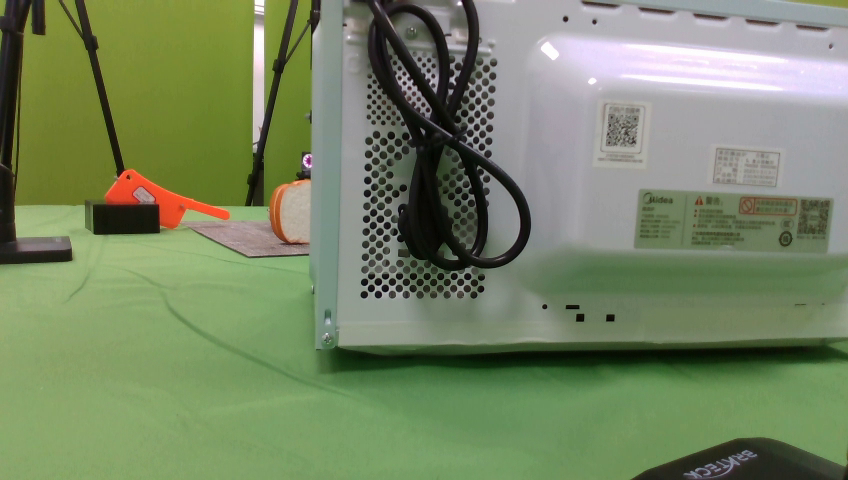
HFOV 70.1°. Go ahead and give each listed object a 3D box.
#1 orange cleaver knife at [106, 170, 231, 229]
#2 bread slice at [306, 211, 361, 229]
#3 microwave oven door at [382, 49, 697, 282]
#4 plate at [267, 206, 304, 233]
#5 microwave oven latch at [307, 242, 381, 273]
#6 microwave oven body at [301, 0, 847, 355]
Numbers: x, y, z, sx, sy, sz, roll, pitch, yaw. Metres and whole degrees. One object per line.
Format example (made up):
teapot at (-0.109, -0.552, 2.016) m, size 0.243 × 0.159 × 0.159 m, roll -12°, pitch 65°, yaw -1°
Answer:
orange cleaver knife at (-0.458, -0.060, 1.097) m, size 0.212 × 0.077 × 0.012 m, roll 23°, pitch -5°, yaw -38°
bread slice at (-0.173, -0.041, 1.173) m, size 0.107 × 0.018 × 0.134 m, roll -2°, pitch 10°, yaw -8°
microwave oven door at (0.135, -0.077, 0.685) m, size 0.357 × 0.243 × 0.039 m, roll 1°, pitch 8°, yaw -12°
plate at (-0.197, -0.039, 1.175) m, size 0.208 × 0.039 × 0.207 m, roll 2°, pitch 7°, yaw 0°
microwave oven latch at (-0.086, 0.019, 0.656) m, size 0.079 × 0.029 × 0.030 m, roll 2°, pitch 7°, yaw -10°
microwave oven body at (0.120, -0.053, 0.535) m, size 0.443 × 0.260 × 0.325 m, roll 2°, pitch 7°, yaw -11°
